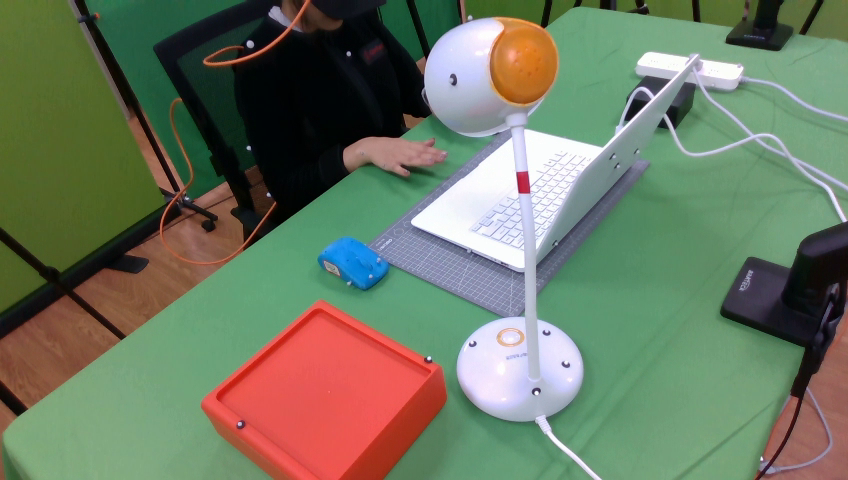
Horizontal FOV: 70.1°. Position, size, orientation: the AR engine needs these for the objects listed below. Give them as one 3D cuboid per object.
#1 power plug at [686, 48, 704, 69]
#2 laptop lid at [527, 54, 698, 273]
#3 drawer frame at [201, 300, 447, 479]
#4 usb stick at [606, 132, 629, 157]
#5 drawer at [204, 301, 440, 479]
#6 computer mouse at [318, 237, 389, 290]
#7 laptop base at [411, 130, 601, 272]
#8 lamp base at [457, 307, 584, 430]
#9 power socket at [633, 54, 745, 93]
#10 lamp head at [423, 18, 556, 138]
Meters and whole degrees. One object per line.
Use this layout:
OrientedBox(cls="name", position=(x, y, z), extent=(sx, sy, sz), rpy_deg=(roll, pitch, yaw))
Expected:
OrientedBox(cls="power plug", position=(0.564, -0.384, 1.247), extent=(0.035, 0.073, 0.052), rpy_deg=(22, 73, 14))
OrientedBox(cls="laptop lid", position=(0.281, -0.113, 0.896), extent=(0.013, 0.242, 0.358), rpy_deg=(38, 55, 17))
OrientedBox(cls="drawer frame", position=(-0.117, 0.193, 0.733), extent=(0.212, 0.083, 0.202), rpy_deg=(23, 48, 32))
OrientedBox(cls="usb stick", position=(0.353, -0.174, 1.109), extent=(0.021, 0.027, 0.059), rpy_deg=(23, 49, 32))
OrientedBox(cls="drawer", position=(-0.119, 0.193, 0.735), extent=(0.210, 0.073, 0.195), rpy_deg=(23, 49, 32))
OrientedBox(cls="computer mouse", position=(-0.113, 0.033, 0.958), extent=(0.116, 0.041, 0.063), rpy_deg=(28, 51, 31))
OrientedBox(cls="laptop base", position=(0.175, -0.083, 1.054), extent=(0.233, 0.023, 0.355), rpy_deg=(21, 49, 36))
OrientedBox(cls="lamp base", position=(0.115, 0.108, 0.713), extent=(0.161, 0.181, 0.178), rpy_deg=(-16, 43, -8))
OrientedBox(cls="power socket", position=(0.563, -0.358, 1.295), extent=(0.225, 0.033, 0.072), rpy_deg=(21, 50, 30))
OrientedBox(cls="lamp head", position=(0.069, -0.151, 0.563), extent=(0.113, 0.113, 0.122), rpy_deg=(-21, 18, -13))
